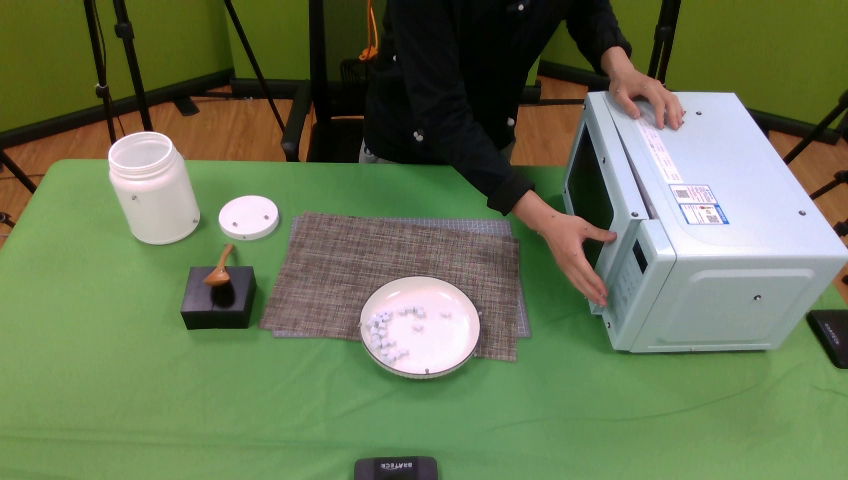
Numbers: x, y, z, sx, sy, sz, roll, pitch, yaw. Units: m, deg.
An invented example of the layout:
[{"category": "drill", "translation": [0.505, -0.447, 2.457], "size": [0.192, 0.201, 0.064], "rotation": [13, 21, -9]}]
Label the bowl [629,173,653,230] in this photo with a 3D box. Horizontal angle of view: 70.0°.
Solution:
[{"category": "bowl", "translation": [0.445, -0.057, 1.166], "size": [0.151, 0.077, 0.150], "rotation": [1, 46, -1]}]

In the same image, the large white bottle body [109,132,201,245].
[{"category": "large white bottle body", "translation": [-0.506, -0.097, 1.141], "size": [0.131, 0.185, 0.130], "rotation": [2, 46, -2]}]

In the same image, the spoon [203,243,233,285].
[{"category": "spoon", "translation": [-0.360, 0.039, 1.087], "size": [0.041, 0.022, 0.192], "rotation": [-5, 24, -7]}]

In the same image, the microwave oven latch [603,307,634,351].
[{"category": "microwave oven latch", "translation": [0.332, 0.153, 1.044], "size": [0.030, 0.029, 0.078], "rotation": [0, 45, -3]}]

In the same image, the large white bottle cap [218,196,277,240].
[{"category": "large white bottle cap", "translation": [-0.354, -0.045, 1.220], "size": [0.115, 0.018, 0.114], "rotation": [2, 45, -1]}]

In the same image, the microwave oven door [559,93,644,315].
[{"category": "microwave oven door", "translation": [0.318, -0.074, 1.122], "size": [0.039, 0.245, 0.353], "rotation": [2, 46, -3]}]

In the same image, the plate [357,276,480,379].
[{"category": "plate", "translation": [-0.009, 0.151, 1.038], "size": [0.209, 0.038, 0.208], "rotation": [2, 47, -2]}]

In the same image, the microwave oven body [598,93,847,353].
[{"category": "microwave oven body", "translation": [0.475, -0.041, 1.109], "size": [0.326, 0.261, 0.438], "rotation": [-1, 45, -4]}]
